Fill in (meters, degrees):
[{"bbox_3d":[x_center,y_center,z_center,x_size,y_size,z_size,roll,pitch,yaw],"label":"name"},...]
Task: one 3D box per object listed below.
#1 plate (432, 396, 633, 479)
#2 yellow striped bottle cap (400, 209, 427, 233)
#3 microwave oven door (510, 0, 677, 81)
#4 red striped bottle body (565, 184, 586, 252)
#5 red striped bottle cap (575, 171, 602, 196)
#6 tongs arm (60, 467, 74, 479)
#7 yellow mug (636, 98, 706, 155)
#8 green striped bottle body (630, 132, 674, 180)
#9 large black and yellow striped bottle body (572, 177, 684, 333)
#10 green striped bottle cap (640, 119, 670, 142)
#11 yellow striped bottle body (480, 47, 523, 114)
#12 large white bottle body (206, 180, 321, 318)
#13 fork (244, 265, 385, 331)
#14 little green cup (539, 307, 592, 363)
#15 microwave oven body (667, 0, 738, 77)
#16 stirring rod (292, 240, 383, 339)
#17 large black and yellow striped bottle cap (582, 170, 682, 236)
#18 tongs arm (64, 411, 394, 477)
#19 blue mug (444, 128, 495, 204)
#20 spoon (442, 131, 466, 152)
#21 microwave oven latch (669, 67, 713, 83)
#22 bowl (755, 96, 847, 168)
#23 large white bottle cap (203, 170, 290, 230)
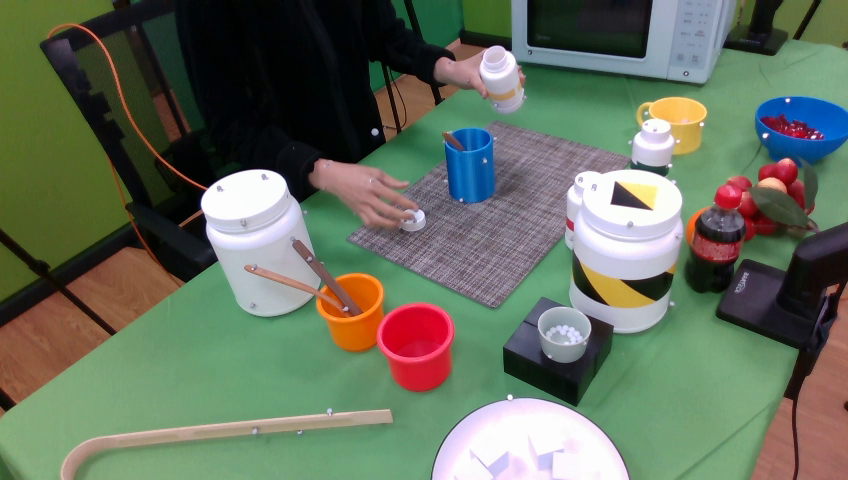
[{"bbox_3d":[0.112,0.261,0.635,0.209,0.038,0.208,-5,40,4],"label":"plate"},{"bbox_3d":[-0.018,-0.032,1.017,0.044,0.019,0.044,-7,40,6],"label":"yellow striped bottle cap"},{"bbox_3d":[0.354,-0.478,1.290,0.353,0.245,0.039,15,45,25],"label":"microwave oven door"},{"bbox_3d":[0.247,-0.041,0.910,0.063,0.120,0.062,-3,39,3],"label":"red striped bottle body"},{"bbox_3d":[0.242,-0.081,0.876,0.044,0.018,0.044,-5,44,5],"label":"red striped bottle cap"},{"bbox_3d":[-0.239,0.301,0.648,0.386,0.028,0.028,6,49,16],"label":"tongs arm"},{"bbox_3d":[0.453,-0.217,1.128,0.100,0.064,0.129,-34,46,-27],"label":"yellow mug"},{"bbox_3d":[0.376,-0.135,1.001,0.063,0.120,0.063,-5,41,5],"label":"green striped bottle body"},{"bbox_3d":[0.262,0.017,0.788,0.131,0.185,0.130,-5,40,4],"label":"large black and yellow striped bottle body"},{"bbox_3d":[0.371,-0.175,0.968,0.044,0.020,0.044,-4,41,4],"label":"green striped bottle cap"},{"bbox_3d":[0.133,-0.278,1.047,0.062,0.121,0.062,-7,63,14],"label":"yellow striped bottle body"},{"bbox_3d":[-0.233,0.007,0.876,0.130,0.185,0.130,-5,40,4],"label":"large white bottle body"},{"bbox_3d":[-0.142,0.078,0.806,0.209,0.018,0.028,30,33,-23],"label":"fork"},{"bbox_3d":[0.167,0.114,0.721,0.061,0.039,0.061,-4,43,4],"label":"little green cup"},{"bbox_3d":[0.462,-0.552,1.369,0.439,0.261,0.326,15,45,26],"label":"microwave oven body"},{"bbox_3d":[-0.118,0.068,0.826,0.176,0.006,0.014,49,59,-4],"label":"stirring rod"},{"bbox_3d":[0.252,-0.048,0.735,0.115,0.019,0.114,-3,40,3],"label":"large black and yellow striped bottle cap"},{"bbox_3d":[-0.228,0.241,0.715,0.385,0.026,0.050,-5,43,4],"label":"tongs arm"},{"bbox_3d":[0.081,-0.139,1.058,0.082,0.106,0.116,-4,40,5],"label":"blue mug"},{"bbox_3d":[0.062,-0.144,1.000,0.041,0.195,0.021,11,79,23],"label":"spoon"},{"bbox_3d":[0.556,-0.349,1.261,0.078,0.029,0.030,16,46,27],"label":"microwave oven latch"},{"bbox_3d":[0.645,-0.177,1.041,0.151,0.077,0.150,-5,40,4],"label":"bowl"},{"bbox_3d":[-0.241,-0.057,0.822,0.115,0.018,0.114,-4,40,4],"label":"large white bottle cap"}]
